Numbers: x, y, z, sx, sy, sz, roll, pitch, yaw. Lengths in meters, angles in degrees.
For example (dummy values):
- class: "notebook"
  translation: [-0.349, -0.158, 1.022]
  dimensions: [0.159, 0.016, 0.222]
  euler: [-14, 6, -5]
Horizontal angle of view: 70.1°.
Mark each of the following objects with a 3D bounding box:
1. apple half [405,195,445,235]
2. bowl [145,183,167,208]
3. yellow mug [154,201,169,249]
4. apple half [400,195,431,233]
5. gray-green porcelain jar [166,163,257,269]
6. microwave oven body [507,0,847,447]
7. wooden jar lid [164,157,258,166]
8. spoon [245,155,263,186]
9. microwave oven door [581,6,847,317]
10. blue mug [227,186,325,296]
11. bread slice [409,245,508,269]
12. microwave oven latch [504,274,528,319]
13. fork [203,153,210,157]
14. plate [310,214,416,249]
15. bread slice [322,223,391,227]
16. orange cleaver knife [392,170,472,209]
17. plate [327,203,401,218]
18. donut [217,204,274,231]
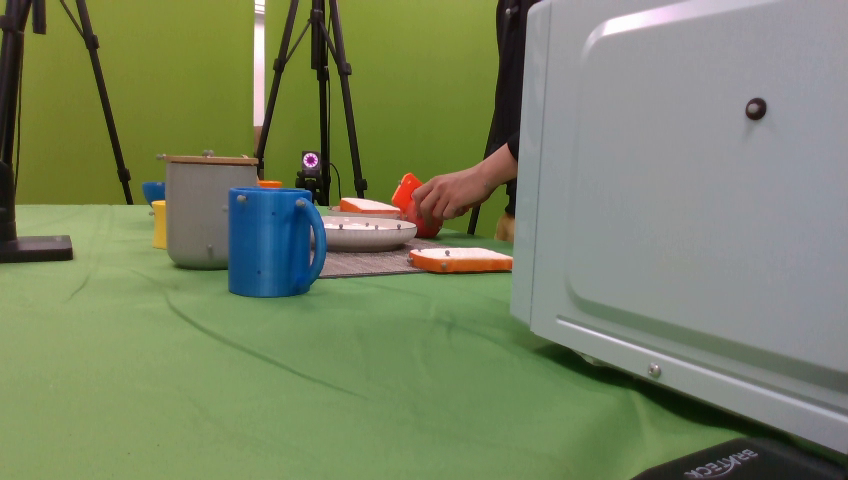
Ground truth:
- class: "apple half"
  translation: [0.009, -0.046, 1.136]
  dimensions: [0.053, 0.074, 0.081]
  euler: [16, 12, 43]
- class: "bowl"
  translation: [-0.459, -0.068, 1.175]
  dimensions: [0.151, 0.077, 0.151]
  euler: [2, 7, 0]
- class: "yellow mug"
  translation: [-0.338, -0.022, 0.899]
  dimensions: [0.130, 0.064, 0.100]
  euler: [8, 9, 34]
- class: "apple half"
  translation: [-0.022, -0.050, 1.164]
  dimensions: [0.032, 0.081, 0.082]
  euler: [5, 8, 43]
- class: "gray-green porcelain jar"
  translation: [-0.263, -0.031, 0.754]
  dimensions: [0.106, 0.126, 0.106]
  euler: [2, 7, 0]
- class: "microwave oven body"
  translation: [0.331, -0.042, 0.425]
  dimensions: [0.444, 0.260, 0.324]
  euler: [-2, 8, -31]
- class: "wooden jar lid"
  translation: [-0.261, -0.093, 0.746]
  dimensions: [0.108, 0.020, 0.108]
  euler: [0, 9, 0]
- class: "spoon"
  translation: [-0.421, -0.150, 1.540]
  dimensions: [0.042, 0.021, 0.193]
  euler: [-5, 55, -37]
- class: "microwave oven door"
  translation: [0.295, -0.067, 0.569]
  dimensions: [0.358, 0.243, 0.039]
  euler: [-3, 8, -31]
- class: "blue mug"
  translation: [-0.146, 0.000, 0.618]
  dimensions: [0.116, 0.106, 0.083]
  euler: [7, 9, 32]
- class: "bread slice"
  translation: [0.048, 0.021, 0.816]
  dimensions: [0.132, 0.019, 0.104]
  euler: [0, 7, -24]
- class: "microwave oven latch"
  translation: [0.100, 0.041, 0.471]
  dimensions: [0.079, 0.029, 0.030]
  euler: [-1, 7, -27]
- class: "fork"
  translation: [-0.480, -0.136, 1.411]
  dimensions: [0.028, 0.018, 0.207]
  euler: [0, -34, -1]
- class: "plate"
  translation: [-0.117, -0.014, 0.967]
  dimensions: [0.208, 0.039, 0.207]
  euler: [2, 7, 0]
- class: "bread slice"
  translation: [-0.116, -0.014, 0.974]
  dimensions: [0.135, 0.018, 0.106]
  euler: [-6, 11, -42]
- class: "orange cleaver knife"
  translation: [0.019, -0.076, 1.178]
  dimensions: [0.012, 0.077, 0.212]
  euler: [16, -1, 44]
- class: "plate"
  translation: [-0.102, -0.053, 1.299]
  dimensions: [0.209, 0.038, 0.209]
  euler: [2, 8, 0]
- class: "donut"
  translation: [-0.318, -0.038, 1.080]
  dimensions: [0.099, 0.048, 0.099]
  euler: [3, 7, 0]
